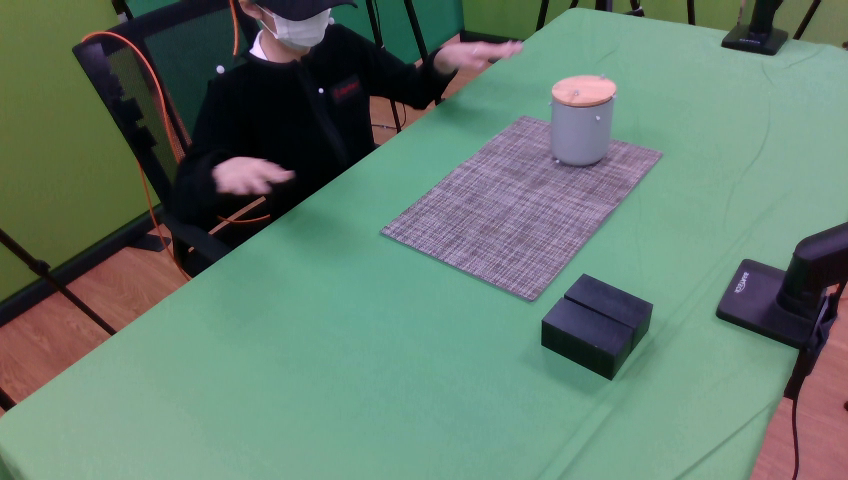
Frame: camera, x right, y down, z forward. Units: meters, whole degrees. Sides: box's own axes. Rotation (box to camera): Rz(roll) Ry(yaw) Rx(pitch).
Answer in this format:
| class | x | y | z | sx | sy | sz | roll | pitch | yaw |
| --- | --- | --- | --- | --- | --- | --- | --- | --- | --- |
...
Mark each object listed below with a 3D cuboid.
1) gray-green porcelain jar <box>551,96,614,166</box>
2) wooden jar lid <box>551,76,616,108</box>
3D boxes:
| class | x | y | z | sx | sy | sz | roll | pitch | yaw |
| --- | --- | --- | --- | --- | --- | --- | --- | --- | --- |
| gray-green porcelain jar | 0.282 | -0.206 | 1.087 | 0.106 | 0.127 | 0.105 | -5 | 40 | 4 |
| wooden jar lid | 0.275 | -0.253 | 1.047 | 0.108 | 0.021 | 0.108 | -5 | 38 | 4 |
